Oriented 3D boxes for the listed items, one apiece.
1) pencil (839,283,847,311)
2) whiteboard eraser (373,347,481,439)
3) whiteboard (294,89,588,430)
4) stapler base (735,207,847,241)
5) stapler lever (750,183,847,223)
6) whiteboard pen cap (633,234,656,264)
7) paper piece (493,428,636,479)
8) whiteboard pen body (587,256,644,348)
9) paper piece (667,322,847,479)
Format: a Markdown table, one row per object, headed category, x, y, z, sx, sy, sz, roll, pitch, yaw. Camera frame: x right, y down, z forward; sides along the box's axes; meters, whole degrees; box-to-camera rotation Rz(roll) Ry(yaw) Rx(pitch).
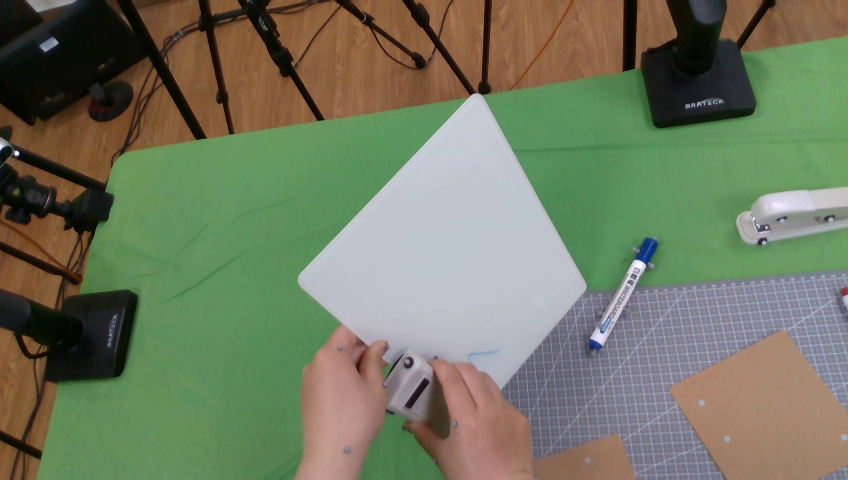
| category | x | y | z | sx | sy | sz | roll | pitch | yaw |
| --- | --- | --- | --- | --- | --- | --- | --- | --- | --- |
| pencil | 0.442 | 0.132 | 0.588 | 0.012 | 0.012 | 0.192 | -10 | 66 | 10 |
| whiteboard eraser | 0.004 | 0.146 | 0.577 | 0.055 | 0.114 | 0.041 | -51 | 41 | -2 |
| whiteboard | 0.007 | 0.016 | 0.627 | 0.217 | 0.309 | 0.142 | -46 | 42 | -8 |
| stapler base | 0.416 | -0.031 | 0.668 | 0.130 | 0.024 | 0.041 | -11 | 66 | 7 |
| stapler lever | 0.412 | -0.042 | 0.647 | 0.118 | 0.040 | 0.026 | -12 | 65 | 9 |
| whiteboard pen cap | 0.252 | 0.011 | 0.691 | 0.018 | 0.018 | 0.033 | 24 | 73 | 24 |
| paper piece | 0.152 | 0.272 | 0.599 | 0.135 | 0.004 | 0.134 | -19 | 63 | 4 |
| whiteboard pen body | 0.220 | 0.058 | 0.679 | 0.017 | 0.017 | 0.140 | 26 | 73 | 24 |
| paper piece | 0.338 | 0.171 | 0.599 | 0.136 | 0.009 | 0.137 | -28 | 64 | 5 |
